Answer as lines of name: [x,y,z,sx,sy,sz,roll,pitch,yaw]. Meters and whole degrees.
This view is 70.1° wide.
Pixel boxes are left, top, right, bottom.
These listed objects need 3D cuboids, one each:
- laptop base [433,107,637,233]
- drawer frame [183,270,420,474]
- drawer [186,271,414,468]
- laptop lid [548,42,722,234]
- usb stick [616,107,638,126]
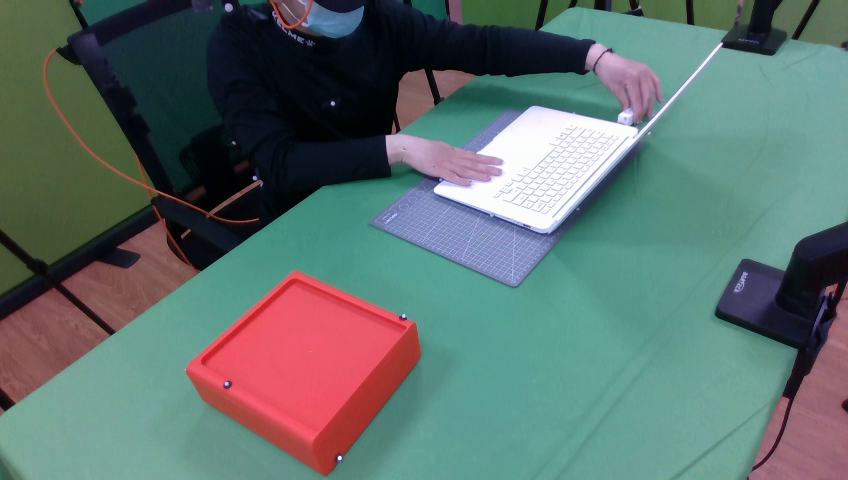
laptop base: [0.210,-0.142,1.111,0.233,0.023,0.355,21,48,33]
drawer frame: [-0.148,0.153,0.767,0.212,0.083,0.202,20,46,27]
drawer: [-0.150,0.153,0.768,0.210,0.073,0.195,20,46,28]
laptop lid: [0.336,-0.161,0.956,0.013,0.241,0.358,42,54,8]
usb stick: [0.392,-0.235,1.176,0.021,0.027,0.059,29,50,34]
